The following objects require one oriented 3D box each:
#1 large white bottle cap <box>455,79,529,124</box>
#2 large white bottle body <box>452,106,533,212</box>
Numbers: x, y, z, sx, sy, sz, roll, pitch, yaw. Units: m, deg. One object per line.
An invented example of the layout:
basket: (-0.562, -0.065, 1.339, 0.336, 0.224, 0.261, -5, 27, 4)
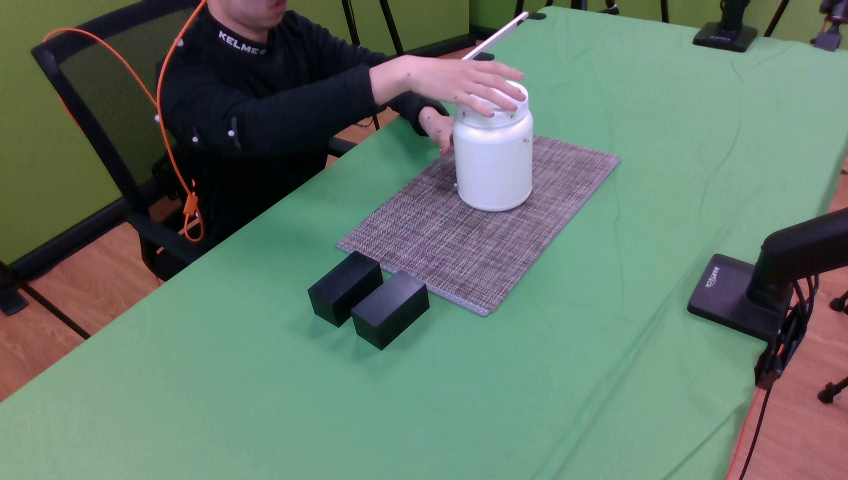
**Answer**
large white bottle cap: (0.106, -0.218, 0.945, 0.115, 0.018, 0.114, -4, 41, 4)
large white bottle body: (0.114, -0.154, 1.001, 0.130, 0.185, 0.130, -5, 41, 4)
